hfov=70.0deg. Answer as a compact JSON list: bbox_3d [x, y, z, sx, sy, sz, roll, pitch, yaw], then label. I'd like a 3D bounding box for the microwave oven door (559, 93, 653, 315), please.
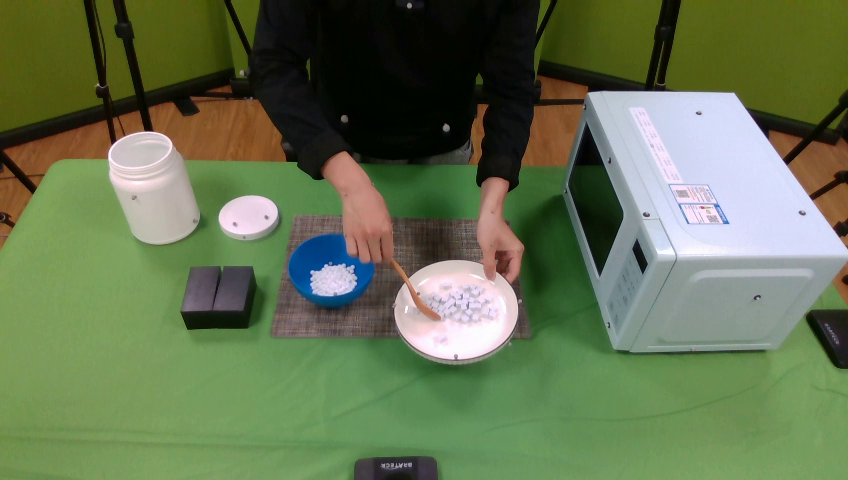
[{"bbox_3d":[0.327,-0.074,1.123,0.039,0.245,0.353,-1,46,-5],"label":"microwave oven door"}]

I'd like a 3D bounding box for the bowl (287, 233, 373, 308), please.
[{"bbox_3d":[-0.165,0.068,1.078,0.151,0.077,0.150,3,45,-3],"label":"bowl"}]

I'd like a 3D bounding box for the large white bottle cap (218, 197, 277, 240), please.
[{"bbox_3d":[-0.354,-0.045,1.220,0.115,0.018,0.114,2,45,-2],"label":"large white bottle cap"}]

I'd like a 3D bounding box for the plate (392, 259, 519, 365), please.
[{"bbox_3d":[0.052,0.120,1.005,0.209,0.038,0.208,-2,48,3],"label":"plate"}]

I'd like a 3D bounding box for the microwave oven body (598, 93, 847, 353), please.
[{"bbox_3d":[0.475,-0.041,1.109,0.326,0.261,0.438,-1,45,-4],"label":"microwave oven body"}]

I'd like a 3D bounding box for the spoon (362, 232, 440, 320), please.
[{"bbox_3d":[-0.039,0.060,1.010,0.021,0.042,0.193,-37,81,-5],"label":"spoon"}]

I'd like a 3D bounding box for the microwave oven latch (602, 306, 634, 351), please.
[{"bbox_3d":[0.332,0.153,1.044,0.030,0.029,0.078,0,45,-4],"label":"microwave oven latch"}]

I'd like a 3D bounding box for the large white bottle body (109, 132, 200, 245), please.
[{"bbox_3d":[-0.506,-0.097,1.141,0.131,0.185,0.130,2,46,-2],"label":"large white bottle body"}]
